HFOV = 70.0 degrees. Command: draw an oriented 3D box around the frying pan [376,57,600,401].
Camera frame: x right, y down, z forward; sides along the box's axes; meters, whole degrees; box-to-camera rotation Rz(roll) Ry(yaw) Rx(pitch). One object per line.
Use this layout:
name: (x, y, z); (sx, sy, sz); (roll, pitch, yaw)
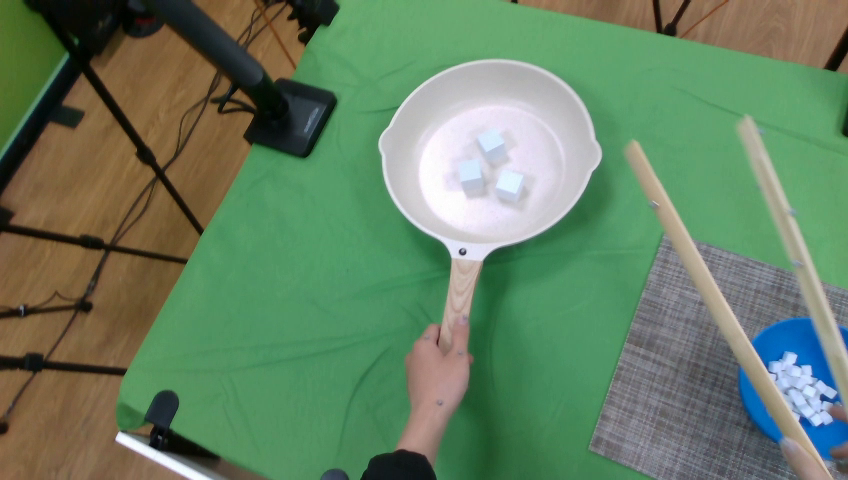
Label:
frying pan: (0.064, -0.028, 0.806); (0.306, 0.104, 0.484); (7, 63, 14)

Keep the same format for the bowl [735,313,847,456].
bowl: (0.420, 0.164, 0.676); (0.151, 0.077, 0.150); (-3, 69, 9)

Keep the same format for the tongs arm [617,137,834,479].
tongs arm: (0.286, 0.064, 0.576); (0.028, 0.028, 0.385); (-20, 73, -18)

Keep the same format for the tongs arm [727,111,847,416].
tongs arm: (0.357, 0.046, 0.590); (0.051, 0.026, 0.382); (-10, 72, -12)
